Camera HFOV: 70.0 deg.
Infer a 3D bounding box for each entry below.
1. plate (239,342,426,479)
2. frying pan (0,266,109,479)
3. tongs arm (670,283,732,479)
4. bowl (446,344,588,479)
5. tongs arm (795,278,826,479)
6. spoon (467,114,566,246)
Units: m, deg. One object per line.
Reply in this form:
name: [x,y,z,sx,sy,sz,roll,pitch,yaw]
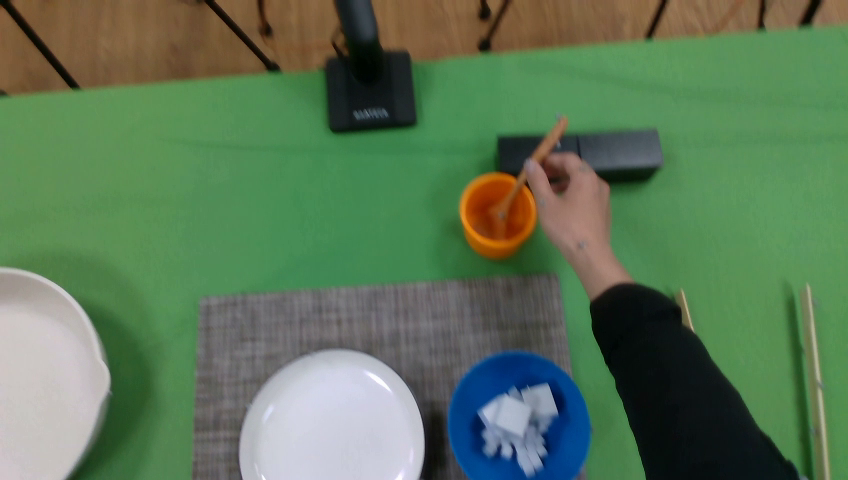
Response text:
plate: [-0.101,0.221,0.688,0.208,0.039,0.206,0,73,1]
frying pan: [-0.489,0.269,0.647,0.307,0.103,0.483,-6,64,0]
tongs arm: [0.343,0.235,0.688,0.028,0.028,0.385,-9,73,-4]
bowl: [0.098,0.196,0.671,0.151,0.077,0.150,0,73,1]
tongs arm: [0.424,0.231,0.683,0.051,0.026,0.382,2,74,3]
spoon: [0.110,-0.068,0.720,0.041,0.194,0.022,44,34,16]
